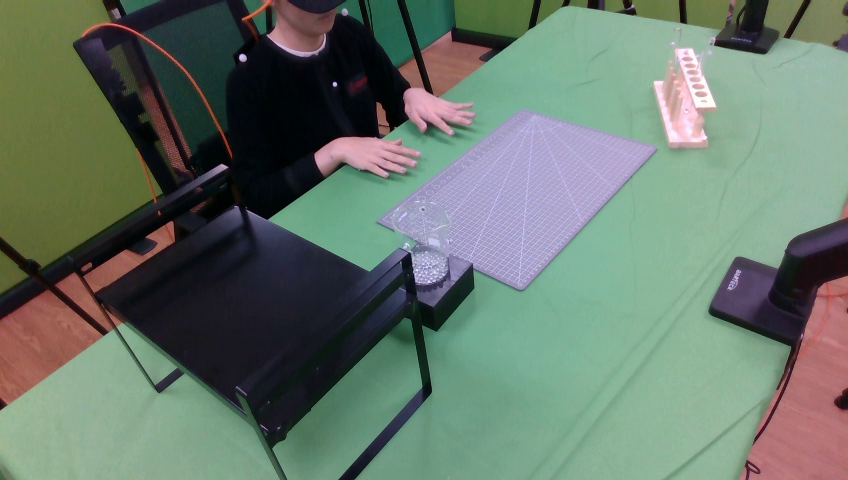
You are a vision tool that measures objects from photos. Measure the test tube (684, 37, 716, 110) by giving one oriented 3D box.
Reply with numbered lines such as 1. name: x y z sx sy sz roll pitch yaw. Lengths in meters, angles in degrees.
1. test tube: 0.512 -0.306 1.126 0.017 0.151 0.017 -1 48 2

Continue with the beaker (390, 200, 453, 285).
1. beaker: 0.002 0.006 0.831 0.084 0.101 0.074 5 42 13

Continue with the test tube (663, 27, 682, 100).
1. test tube: 0.486 -0.342 1.182 0.017 0.151 0.017 -5 41 5

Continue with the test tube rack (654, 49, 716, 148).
1. test tube rack: 0.502 -0.281 1.176 0.066 0.085 0.241 2 41 11
